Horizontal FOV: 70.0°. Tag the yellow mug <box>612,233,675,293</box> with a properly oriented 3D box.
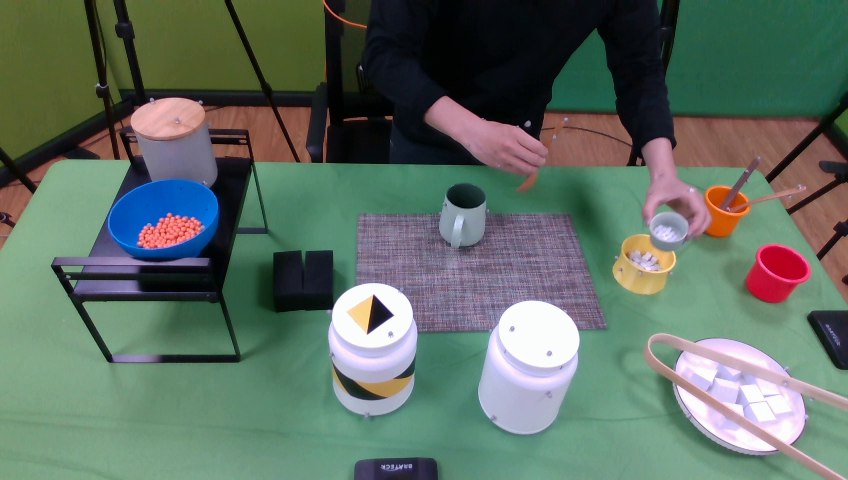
[{"bbox_3d":[0.423,0.033,1.168,0.100,0.064,0.130,18,46,13],"label":"yellow mug"}]

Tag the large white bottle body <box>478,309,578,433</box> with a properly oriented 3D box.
[{"bbox_3d":[0.156,0.192,0.913,0.131,0.185,0.130,2,46,-2],"label":"large white bottle body"}]

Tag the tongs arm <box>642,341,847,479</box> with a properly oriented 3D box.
[{"bbox_3d":[0.504,0.278,0.918,0.386,0.028,0.028,34,59,22],"label":"tongs arm"}]

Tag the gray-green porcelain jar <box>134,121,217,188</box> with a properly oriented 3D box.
[{"bbox_3d":[-0.397,-0.141,0.980,0.106,0.127,0.105,2,47,-2],"label":"gray-green porcelain jar"}]

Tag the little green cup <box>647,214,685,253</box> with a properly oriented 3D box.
[{"bbox_3d":[0.410,-0.009,1.033,0.061,0.039,0.061,-4,54,6],"label":"little green cup"}]

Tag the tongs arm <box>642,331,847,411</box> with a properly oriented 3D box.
[{"bbox_3d":[0.546,0.227,0.968,0.384,0.026,0.050,22,52,13],"label":"tongs arm"}]

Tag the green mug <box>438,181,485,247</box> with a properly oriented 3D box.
[{"bbox_3d":[0.071,-0.039,1.178,0.092,0.105,0.124,12,47,7],"label":"green mug"}]

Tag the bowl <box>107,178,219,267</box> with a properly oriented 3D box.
[{"bbox_3d":[-0.374,-0.014,0.893,0.151,0.077,0.150,2,46,-2],"label":"bowl"}]

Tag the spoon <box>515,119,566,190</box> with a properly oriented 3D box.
[{"bbox_3d":[0.194,-0.139,1.021,0.041,0.194,0.021,-29,68,-26],"label":"spoon"}]

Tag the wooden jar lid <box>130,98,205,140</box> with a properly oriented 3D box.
[{"bbox_3d":[-0.393,-0.183,0.934,0.108,0.021,0.107,2,43,-2],"label":"wooden jar lid"}]

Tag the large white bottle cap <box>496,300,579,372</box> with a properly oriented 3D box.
[{"bbox_3d":[0.160,0.133,0.852,0.115,0.018,0.114,3,46,-2],"label":"large white bottle cap"}]

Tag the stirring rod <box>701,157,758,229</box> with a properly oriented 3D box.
[{"bbox_3d":[0.634,-0.097,1.257,0.014,0.006,0.176,38,97,30],"label":"stirring rod"}]

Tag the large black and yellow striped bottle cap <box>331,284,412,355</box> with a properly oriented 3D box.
[{"bbox_3d":[-0.073,0.110,0.857,0.115,0.019,0.114,2,46,-2],"label":"large black and yellow striped bottle cap"}]

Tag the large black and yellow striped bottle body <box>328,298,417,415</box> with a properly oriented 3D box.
[{"bbox_3d":[-0.078,0.167,0.920,0.131,0.185,0.130,2,46,-2],"label":"large black and yellow striped bottle body"}]

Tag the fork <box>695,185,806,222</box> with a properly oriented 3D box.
[{"bbox_3d":[0.657,-0.074,1.229,0.207,0.019,0.028,-23,36,37],"label":"fork"}]

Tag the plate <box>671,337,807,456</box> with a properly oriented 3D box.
[{"bbox_3d":[0.503,0.254,0.984,0.208,0.039,0.206,2,46,-2],"label":"plate"}]
